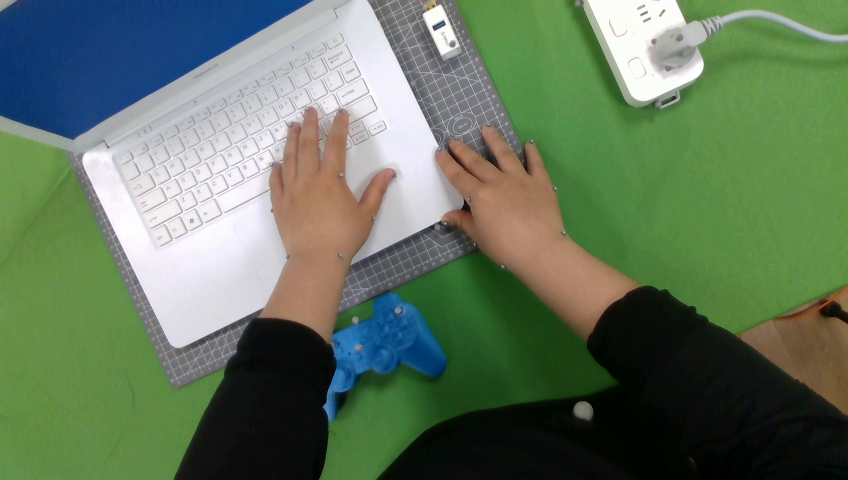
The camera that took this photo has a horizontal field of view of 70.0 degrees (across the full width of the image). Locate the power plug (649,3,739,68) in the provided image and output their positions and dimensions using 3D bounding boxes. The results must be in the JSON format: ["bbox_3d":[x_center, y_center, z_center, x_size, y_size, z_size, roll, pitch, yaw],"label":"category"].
[{"bbox_3d":[0.238,-0.177,0.538,0.072,0.052,0.035,-13,90,5],"label":"power plug"}]

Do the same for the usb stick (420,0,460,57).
[{"bbox_3d":[0.013,-0.210,0.588,0.021,0.027,0.059,-25,88,10],"label":"usb stick"}]

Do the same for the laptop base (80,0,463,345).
[{"bbox_3d":[-0.164,-0.065,0.630,0.354,0.023,0.235,-26,92,9],"label":"laptop base"}]

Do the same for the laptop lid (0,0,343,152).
[{"bbox_3d":[-0.241,-0.181,0.514,0.356,0.242,0.013,-26,80,10],"label":"laptop lid"}]

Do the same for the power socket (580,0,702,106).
[{"bbox_3d":[0.183,-0.233,0.562,0.072,0.032,0.226,-24,90,10],"label":"power socket"}]

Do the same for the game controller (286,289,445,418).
[{"bbox_3d":[-0.065,0.114,0.613,0.155,0.052,0.097,-25,85,8],"label":"game controller"}]
